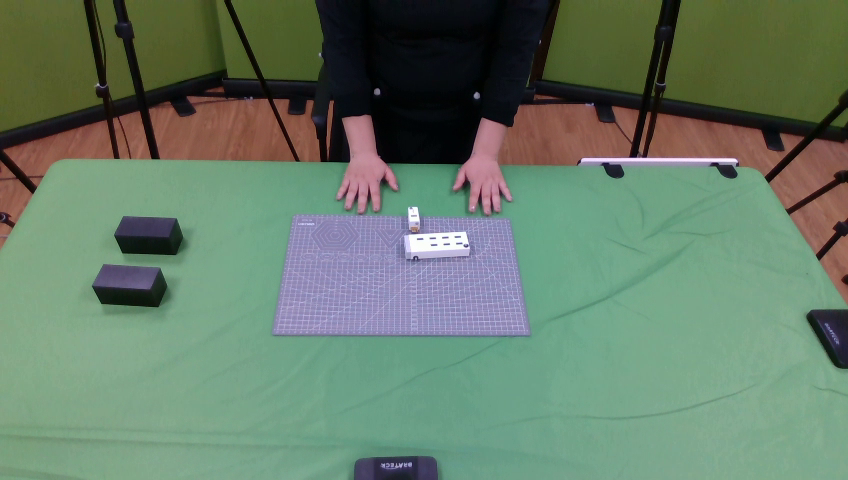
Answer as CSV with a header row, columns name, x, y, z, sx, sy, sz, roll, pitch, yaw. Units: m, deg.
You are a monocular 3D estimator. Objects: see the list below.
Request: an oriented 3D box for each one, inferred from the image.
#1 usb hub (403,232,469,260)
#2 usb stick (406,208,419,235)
name,x,y,z,sx,sy,sz,roll,pitch,yaw
usb hub,0.023,0.012,1.181,0.125,0.025,0.049,-3,46,-7
usb stick,-0.023,-0.037,1.225,0.021,0.027,0.059,0,49,-9
